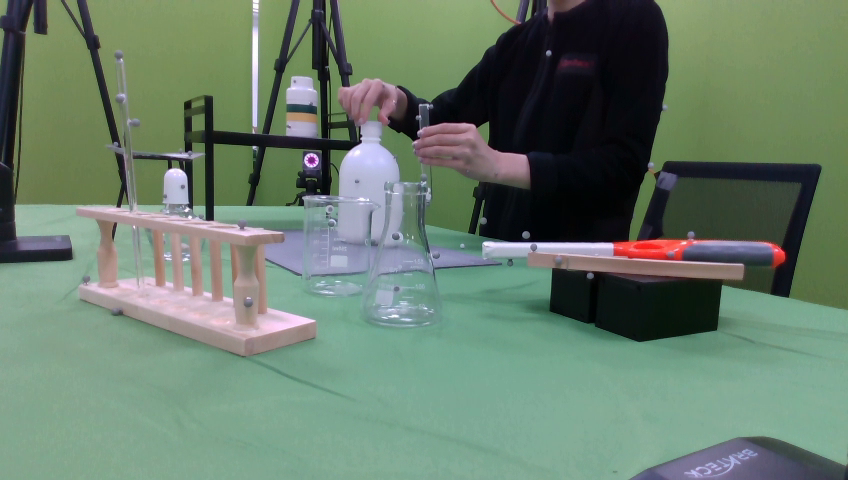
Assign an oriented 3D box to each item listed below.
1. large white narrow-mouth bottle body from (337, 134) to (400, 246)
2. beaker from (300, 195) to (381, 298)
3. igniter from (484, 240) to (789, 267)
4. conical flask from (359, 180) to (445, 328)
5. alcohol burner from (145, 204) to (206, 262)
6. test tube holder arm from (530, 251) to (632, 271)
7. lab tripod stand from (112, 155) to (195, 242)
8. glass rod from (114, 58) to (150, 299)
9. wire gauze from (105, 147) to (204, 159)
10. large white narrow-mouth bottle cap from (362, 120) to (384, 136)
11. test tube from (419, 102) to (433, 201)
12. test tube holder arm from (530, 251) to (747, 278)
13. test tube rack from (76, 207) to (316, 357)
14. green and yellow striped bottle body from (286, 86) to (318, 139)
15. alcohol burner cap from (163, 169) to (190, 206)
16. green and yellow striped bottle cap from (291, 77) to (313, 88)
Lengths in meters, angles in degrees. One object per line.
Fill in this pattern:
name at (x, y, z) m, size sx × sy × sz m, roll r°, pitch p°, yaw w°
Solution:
large white narrow-mouth bottle body at (-0.091, -0.092, 1.006) m, size 0.102 × 0.194 × 0.102 m, roll 4°, pitch 7°, yaw 0°
beaker at (-0.087, 0.006, 0.626) m, size 0.084 × 0.100 × 0.074 m, roll 1°, pitch 8°, yaw -17°
igniter at (0.197, 0.012, 0.585) m, size 0.276 × 0.025 × 0.057 m, roll 1°, pitch 5°, yaw 11°
conical flask at (-0.017, 0.010, 0.522) m, size 0.075 × 0.122 × 0.075 m, roll 2°, pitch 7°, yaw 0°
alcohol burner at (-0.321, -0.032, 0.788) m, size 0.078 × 0.119 × 0.078 m, roll 0°, pitch 7°, yaw 0°
test tube holder arm at (0.139, 0.019, 0.538) m, size 0.087 × 0.015 × 0.010 m, roll 3°, pitch 7°, yaw 13°
lab tripod stand at (-0.405, -0.064, 0.931) m, size 0.148 × 0.131 × 0.148 m, roll 1°, pitch 7°, yaw 0°
glass rod at (-0.236, -0.044, 0.491) m, size 0.008 × 0.199 × 0.008 m, roll 1°, pitch 15°, yaw 0°
wire gauze at (-0.407, -0.131, 0.929) m, size 0.125 × 0.011 × 0.121 m, roll 2°, pitch 6°, yaw -11°
large white narrow-mouth bottle cap at (-0.084, -0.184, 0.995) m, size 0.038 × 0.024 × 0.037 m, roll 4°, pitch 7°, yaw 0°
test tube at (0.004, -0.134, 0.924) m, size 0.017 × 0.150 × 0.017 m, roll -2°, pitch 11°, yaw 1°
test tube holder arm at (0.182, 0.022, 0.523) m, size 0.178 × 0.015 × 0.013 m, roll 3°, pitch 7°, yaw 12°
test tube rack at (-0.196, 0.023, 0.500) m, size 0.241 × 0.085 × 0.067 m, roll 8°, pitch 9°, yaw 36°
green and yellow striped bottle body at (-0.251, -0.270, 1.245) m, size 0.063 × 0.119 × 0.063 m, roll 2°, pitch 7°, yaw 0°
alcohol burner cap at (-0.320, -0.068, 0.782) m, size 0.034 × 0.048 × 0.034 m, roll 1°, pitch 7°, yaw 0°
green and yellow striped bottle cap at (-0.250, -0.321, 1.238) m, size 0.045 × 0.020 × 0.045 m, roll 3°, pitch 6°, yaw 0°
